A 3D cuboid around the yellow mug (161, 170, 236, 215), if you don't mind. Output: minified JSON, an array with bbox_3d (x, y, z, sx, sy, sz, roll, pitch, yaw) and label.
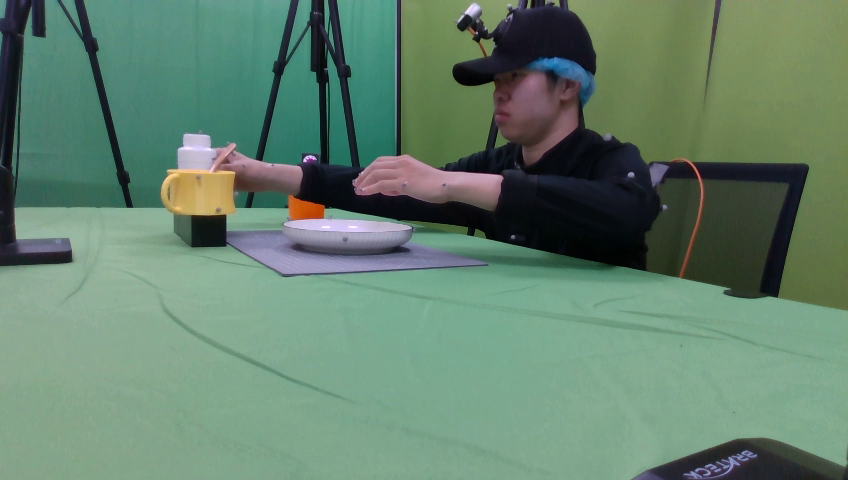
[{"bbox_3d":[-0.354,-0.074,0.935,0.099,0.064,0.131,5,9,21],"label":"yellow mug"}]

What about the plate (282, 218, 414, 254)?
[{"bbox_3d":[-0.121,-0.007,0.971,0.208,0.039,0.207,2,7,0],"label":"plate"}]

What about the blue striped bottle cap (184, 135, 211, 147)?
[{"bbox_3d":[-0.392,-0.171,1.048,0.044,0.020,0.044,3,8,0],"label":"blue striped bottle cap"}]

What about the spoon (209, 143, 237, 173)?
[{"bbox_3d":[-0.341,-0.113,0.990,0.041,0.021,0.193,0,39,8],"label":"spoon"}]

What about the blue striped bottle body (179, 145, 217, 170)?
[{"bbox_3d":[-0.393,-0.120,1.054,0.063,0.120,0.063,2,6,0],"label":"blue striped bottle body"}]
